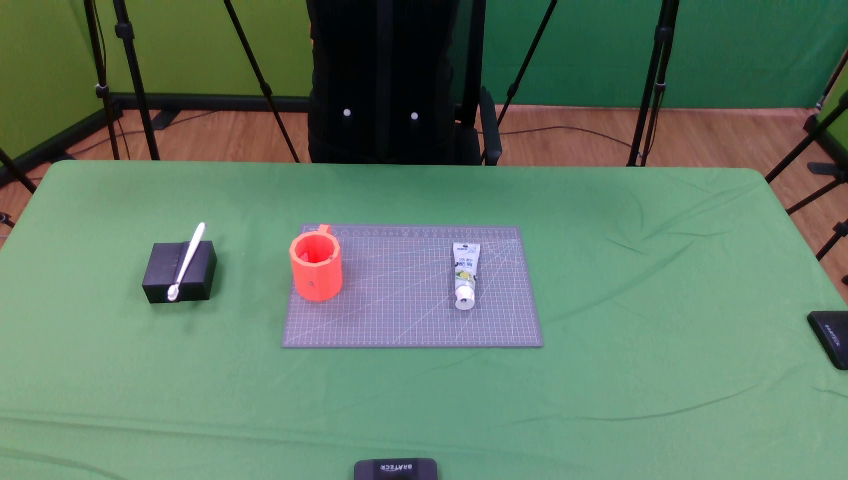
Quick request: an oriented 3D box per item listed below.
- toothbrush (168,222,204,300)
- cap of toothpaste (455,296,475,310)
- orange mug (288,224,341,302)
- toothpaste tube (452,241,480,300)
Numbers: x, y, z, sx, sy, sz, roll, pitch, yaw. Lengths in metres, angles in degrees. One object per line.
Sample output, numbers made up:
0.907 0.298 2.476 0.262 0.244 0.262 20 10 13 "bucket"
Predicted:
-0.419 0.032 1.070 0.014 0.017 0.180 2 46 2 "toothbrush"
0.072 0.111 1.081 0.037 0.037 0.011 -2 47 -6 "cap of toothpaste"
-0.192 0.034 1.094 0.083 0.101 0.125 7 50 2 "orange mug"
0.079 0.058 1.142 0.055 0.034 0.164 9 42 -3 "toothpaste tube"
